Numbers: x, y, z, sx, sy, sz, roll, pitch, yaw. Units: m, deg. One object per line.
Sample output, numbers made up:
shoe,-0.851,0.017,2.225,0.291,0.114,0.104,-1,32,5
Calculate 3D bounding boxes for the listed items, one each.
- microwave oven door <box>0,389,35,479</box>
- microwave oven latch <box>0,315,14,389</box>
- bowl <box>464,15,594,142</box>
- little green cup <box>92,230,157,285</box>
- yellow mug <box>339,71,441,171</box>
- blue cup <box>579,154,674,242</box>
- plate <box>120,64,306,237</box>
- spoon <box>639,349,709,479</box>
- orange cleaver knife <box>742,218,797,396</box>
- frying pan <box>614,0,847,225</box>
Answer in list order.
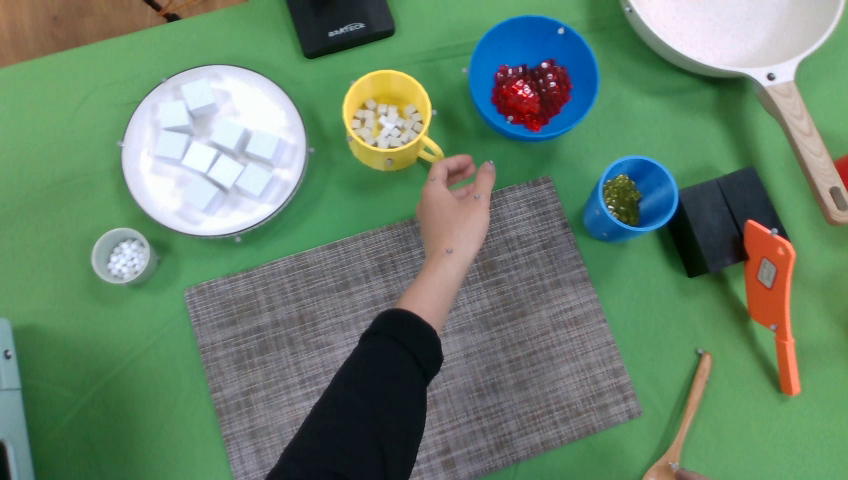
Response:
microwave oven door,-0.388,0.304,0.494,0.039,0.244,0.354,-15,80,-6
microwave oven latch,-0.452,0.117,0.631,0.030,0.029,0.079,-12,80,-6
bowl,0.118,-0.179,0.723,0.151,0.077,0.150,1,79,-3
little green cup,-0.330,0.022,0.674,0.061,0.039,0.061,1,79,-4
yellow mug,-0.034,-0.130,0.710,0.131,0.064,0.100,34,78,3
blue cup,0.220,-0.039,0.689,0.093,0.100,0.092,1,76,-4
plate,-0.240,-0.102,0.707,0.208,0.039,0.206,1,79,-3
spoon,0.289,0.212,0.684,0.041,0.022,0.193,24,78,14
orange cleaver knife,0.391,0.077,0.687,0.012,0.076,0.212,-19,109,-6
frying pan,0.395,-0.241,0.738,0.307,0.103,0.484,-13,72,-5
